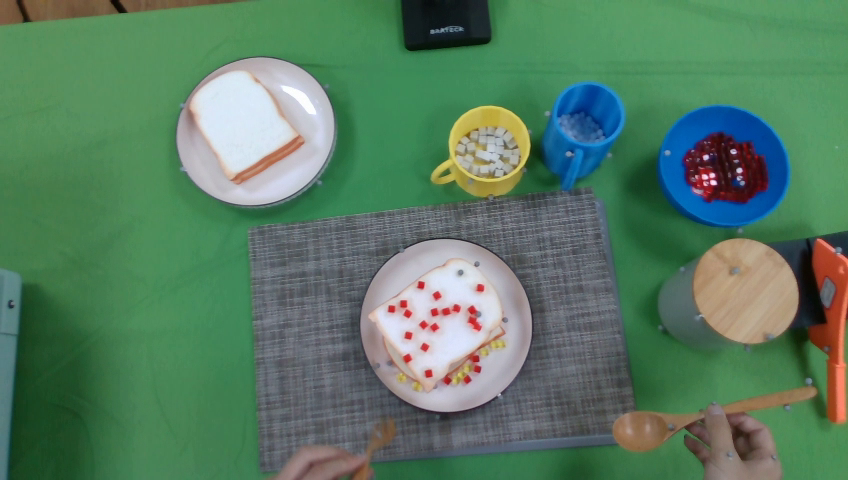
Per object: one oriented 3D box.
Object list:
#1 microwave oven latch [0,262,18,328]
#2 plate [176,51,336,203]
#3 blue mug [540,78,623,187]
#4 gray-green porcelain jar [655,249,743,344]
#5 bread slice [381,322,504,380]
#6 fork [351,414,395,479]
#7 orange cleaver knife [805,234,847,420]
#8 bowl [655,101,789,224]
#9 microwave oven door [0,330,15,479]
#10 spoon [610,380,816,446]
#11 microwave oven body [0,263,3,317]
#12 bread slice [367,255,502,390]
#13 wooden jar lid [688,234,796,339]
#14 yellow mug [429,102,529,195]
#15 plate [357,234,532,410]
[{"bbox_3d":[-0.518,0.067,0.738,0.030,0.029,0.079,-1,78,1],"label":"microwave oven latch"},{"bbox_3d":[-0.217,-0.145,0.796,0.207,0.039,0.206,0,77,2],"label":"plate"},{"bbox_3d":[0.186,-0.122,0.743,0.082,0.106,0.116,14,78,6],"label":"blue mug"},{"bbox_3d":[0.328,0.063,0.685,0.106,0.127,0.105,0,77,2],"label":"gray-green porcelain jar"},{"bbox_3d":[0.016,0.106,0.730,0.131,0.019,0.104,-38,77,-7],"label":"bread slice"},{"bbox_3d":[-0.050,0.200,0.573,0.028,0.207,0.018,-22,86,3],"label":"fork"},{"bbox_3d":[0.461,0.100,0.695,0.012,0.077,0.212,-7,103,1],"label":"orange cleaver knife"},{"bbox_3d":[0.350,-0.084,0.742,0.151,0.077,0.150,0,78,2],"label":"bowl"},{"bbox_3d":[-0.510,0.257,0.592,0.039,0.245,0.354,-4,77,1],"label":"microwave oven door"},{"bbox_3d":[0.282,0.167,0.598,0.193,0.022,0.041,-21,49,19],"label":"spoon"},{"bbox_3d":[-0.658,0.228,0.608,0.326,0.261,0.439,-4,78,1],"label":"microwave oven body"},{"bbox_3d":[0.018,0.081,0.673,0.134,0.018,0.106,-40,84,-13],"label":"bread slice"},{"bbox_3d":[0.325,0.048,0.624,0.108,0.021,0.108,0,80,0],"label":"wooden jar lid"},{"bbox_3d":[0.066,-0.108,0.763,0.131,0.064,0.099,-26,77,-3],"label":"yellow mug"},{"bbox_3d":[0.025,0.096,0.730,0.209,0.038,0.208,0,77,2],"label":"plate"}]
